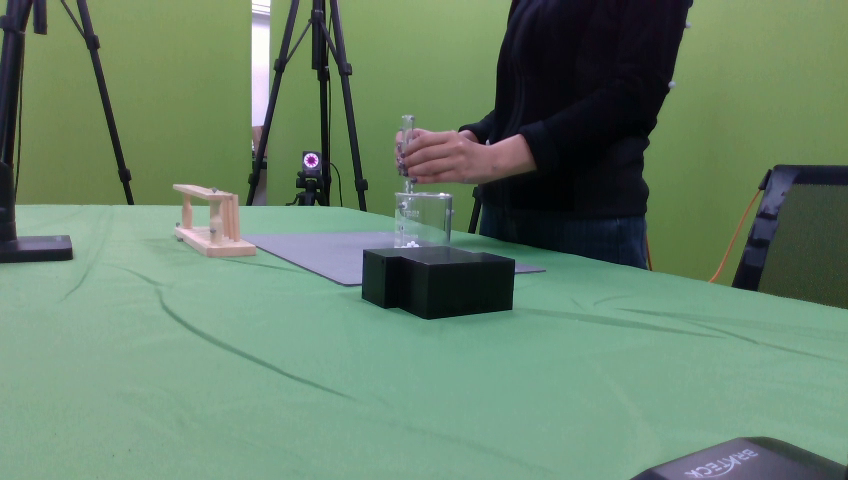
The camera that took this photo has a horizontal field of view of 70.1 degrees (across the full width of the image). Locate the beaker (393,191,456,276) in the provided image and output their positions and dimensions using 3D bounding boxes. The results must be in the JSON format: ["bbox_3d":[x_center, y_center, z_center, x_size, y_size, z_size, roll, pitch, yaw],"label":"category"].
[{"bbox_3d":[-0.003,-0.010,0.749,0.074,0.100,0.083,-3,8,-40],"label":"beaker"}]

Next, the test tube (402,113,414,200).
[{"bbox_3d":[-0.028,-0.143,1.045,0.017,0.150,0.017,-2,15,1],"label":"test tube"}]

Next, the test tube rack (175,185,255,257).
[{"bbox_3d":[-0.324,-0.035,0.922,0.067,0.085,0.241,-2,9,-31],"label":"test tube rack"}]

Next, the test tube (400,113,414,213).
[{"bbox_3d":[-0.025,-0.115,0.914,0.017,0.150,0.017,2,2,0],"label":"test tube"}]
